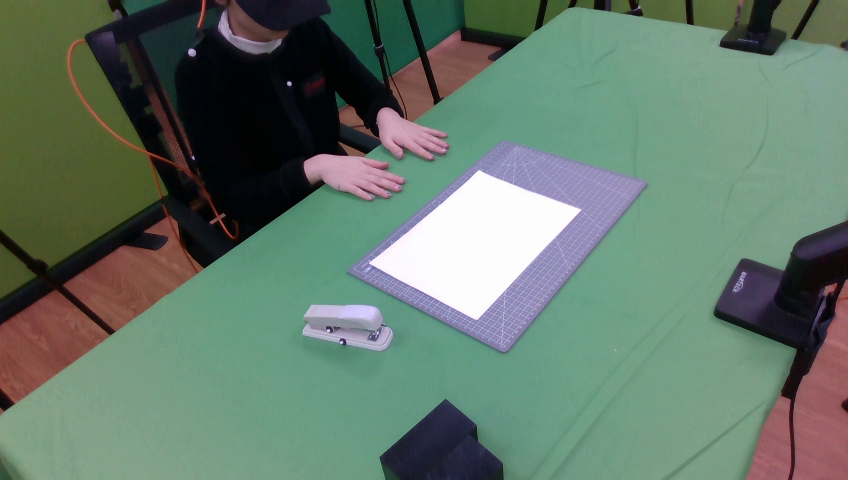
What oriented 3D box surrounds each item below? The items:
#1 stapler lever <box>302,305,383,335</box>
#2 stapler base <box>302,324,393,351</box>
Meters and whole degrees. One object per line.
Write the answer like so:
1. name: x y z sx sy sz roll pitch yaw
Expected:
1. stapler lever: -0.113 0.105 0.829 0.117 0.040 0.027 8 40 18
2. stapler base: -0.109 0.123 0.845 0.130 0.024 0.041 7 40 18
